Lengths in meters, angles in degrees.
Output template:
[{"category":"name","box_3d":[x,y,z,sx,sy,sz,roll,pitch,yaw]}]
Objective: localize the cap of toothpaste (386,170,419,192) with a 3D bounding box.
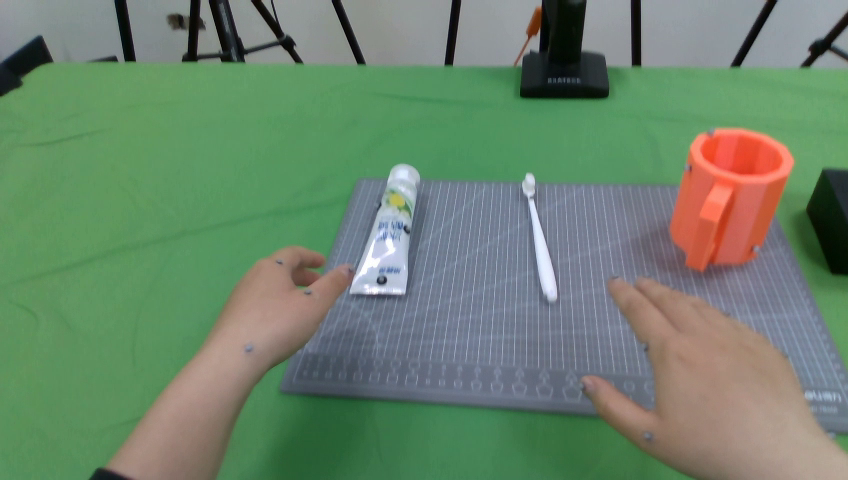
[{"category":"cap of toothpaste","box_3d":[-0.024,-0.062,0.674,0.037,0.038,0.011,2,45,7]}]

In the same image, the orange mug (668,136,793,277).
[{"category":"orange mug","box_3d":[0.274,-0.026,0.560,0.083,0.102,0.126,23,43,29]}]

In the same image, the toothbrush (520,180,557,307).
[{"category":"toothbrush","box_3d":[0.115,-0.003,0.610,0.014,0.017,0.180,10,41,-9]}]

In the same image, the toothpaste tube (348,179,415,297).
[{"category":"toothpaste tube","box_3d":[-0.036,-0.006,0.620,0.055,0.035,0.163,-2,44,12]}]
